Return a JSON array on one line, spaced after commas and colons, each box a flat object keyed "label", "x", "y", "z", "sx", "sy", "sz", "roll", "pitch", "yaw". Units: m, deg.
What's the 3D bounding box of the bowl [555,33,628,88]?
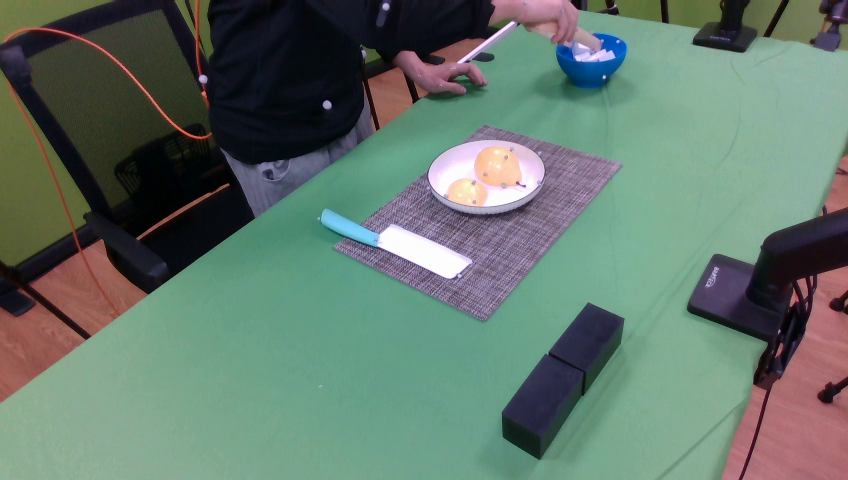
[{"label": "bowl", "x": 0.361, "y": -0.384, "z": 1.318, "sx": 0.151, "sy": 0.077, "sz": 0.150, "roll": -4, "pitch": 41, "yaw": 4}]

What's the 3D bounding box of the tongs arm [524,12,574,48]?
[{"label": "tongs arm", "x": 0.251, "y": -0.401, "z": 1.168, "sx": 0.028, "sy": 0.028, "sz": 0.389, "roll": 23, "pitch": 20, "yaw": 19}]

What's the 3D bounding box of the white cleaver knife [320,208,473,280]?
[{"label": "white cleaver knife", "x": -0.053, "y": 0.001, "z": 0.978, "sx": 0.284, "sy": 0.021, "sz": 0.066, "roll": 23, "pitch": 39, "yaw": 26}]

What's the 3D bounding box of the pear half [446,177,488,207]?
[{"label": "pear half", "x": 0.073, "y": -0.086, "z": 1.033, "sx": 0.070, "sy": 0.031, "sz": 0.087, "roll": -20, "pitch": 36, "yaw": -9}]

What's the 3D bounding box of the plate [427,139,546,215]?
[{"label": "plate", "x": 0.109, "y": -0.107, "z": 1.059, "sx": 0.207, "sy": 0.039, "sz": 0.206, "roll": -4, "pitch": 41, "yaw": 4}]

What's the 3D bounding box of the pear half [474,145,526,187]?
[{"label": "pear half", "x": 0.140, "y": -0.129, "z": 1.059, "sx": 0.076, "sy": 0.056, "sz": 0.109, "roll": -37, "pitch": 53, "yaw": -25}]

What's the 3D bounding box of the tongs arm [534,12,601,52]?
[{"label": "tongs arm", "x": 0.283, "y": -0.391, "z": 1.154, "sx": 0.050, "sy": 0.026, "sz": 0.386, "roll": 19, "pitch": 19, "yaw": 20}]
